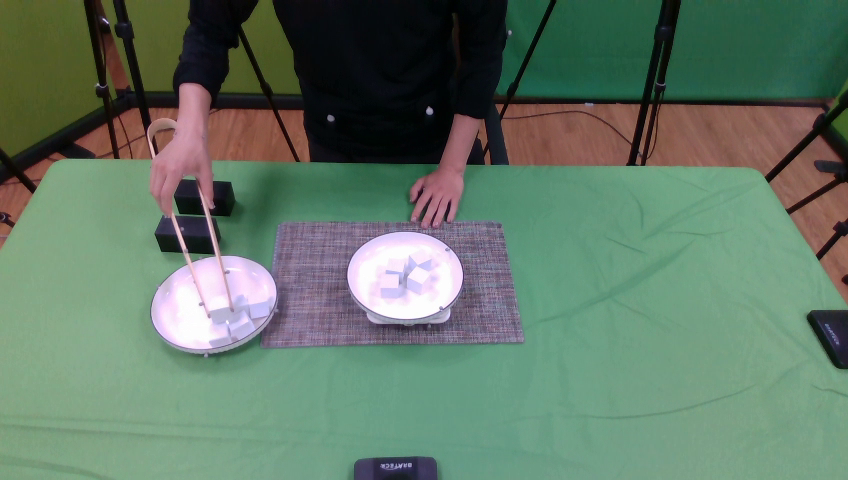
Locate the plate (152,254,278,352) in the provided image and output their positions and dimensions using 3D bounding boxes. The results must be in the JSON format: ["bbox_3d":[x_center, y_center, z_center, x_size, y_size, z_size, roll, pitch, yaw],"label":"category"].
[{"bbox_3d":[-0.357,0.111,1.052,0.208,0.039,0.206,2,46,-2],"label":"plate"}]

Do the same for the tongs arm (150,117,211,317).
[{"bbox_3d":[-0.407,-0.048,1.036,0.051,0.026,0.383,-22,71,-17],"label":"tongs arm"}]

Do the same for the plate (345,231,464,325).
[{"bbox_3d":[-0.034,0.069,1.069,0.209,0.038,0.208,2,46,-2],"label":"plate"}]

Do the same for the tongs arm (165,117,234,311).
[{"bbox_3d":[-0.385,-0.055,1.043,0.028,0.028,0.385,-19,70,-13],"label":"tongs arm"}]

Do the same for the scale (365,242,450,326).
[{"bbox_3d":[-0.032,0.071,1.113,0.149,0.032,0.199,0,46,-4],"label":"scale"}]
